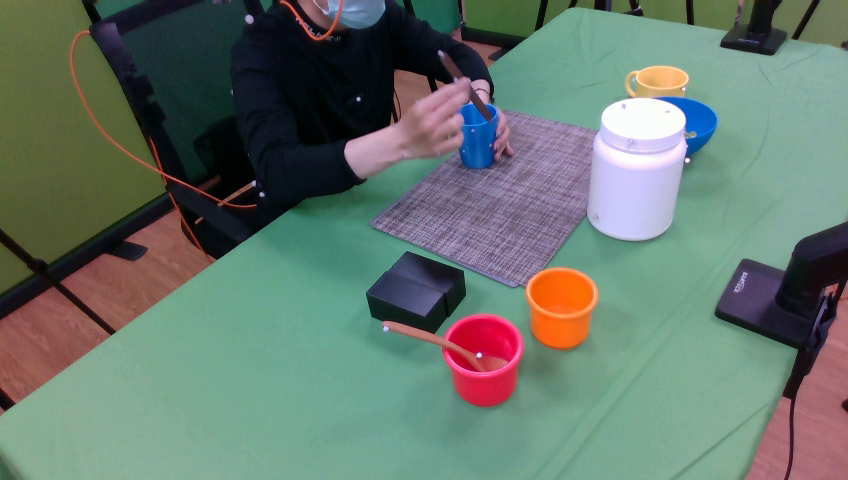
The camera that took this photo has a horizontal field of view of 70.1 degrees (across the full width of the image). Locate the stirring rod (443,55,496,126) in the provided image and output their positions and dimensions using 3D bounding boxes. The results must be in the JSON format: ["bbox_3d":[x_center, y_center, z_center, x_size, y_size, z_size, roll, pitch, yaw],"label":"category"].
[{"bbox_3d":[0.070,-0.219,0.898,0.005,0.177,0.014,23,82,35],"label":"stirring rod"}]

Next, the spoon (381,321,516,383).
[{"bbox_3d":[0.033,0.131,0.726,0.195,0.021,0.041,29,30,-26],"label":"spoon"}]

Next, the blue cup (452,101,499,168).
[{"bbox_3d":[0.098,-0.190,1.117,0.092,0.100,0.092,-5,40,5],"label":"blue cup"}]

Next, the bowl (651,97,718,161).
[{"bbox_3d":[0.439,-0.187,1.087,0.151,0.077,0.150,-4,41,4],"label":"bowl"}]

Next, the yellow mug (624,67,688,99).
[{"bbox_3d":[0.464,-0.305,1.230,0.100,0.064,0.129,-34,46,-27],"label":"yellow mug"}]

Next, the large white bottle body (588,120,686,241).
[{"bbox_3d":[0.324,-0.105,0.926,0.130,0.185,0.130,-4,41,4],"label":"large white bottle body"}]

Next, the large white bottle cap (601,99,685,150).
[{"bbox_3d":[0.315,-0.169,0.870,0.115,0.018,0.114,-4,41,4],"label":"large white bottle cap"}]
